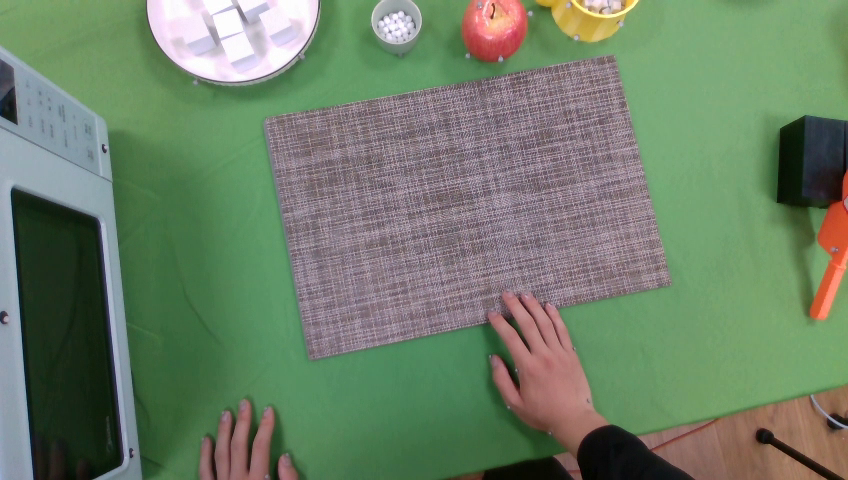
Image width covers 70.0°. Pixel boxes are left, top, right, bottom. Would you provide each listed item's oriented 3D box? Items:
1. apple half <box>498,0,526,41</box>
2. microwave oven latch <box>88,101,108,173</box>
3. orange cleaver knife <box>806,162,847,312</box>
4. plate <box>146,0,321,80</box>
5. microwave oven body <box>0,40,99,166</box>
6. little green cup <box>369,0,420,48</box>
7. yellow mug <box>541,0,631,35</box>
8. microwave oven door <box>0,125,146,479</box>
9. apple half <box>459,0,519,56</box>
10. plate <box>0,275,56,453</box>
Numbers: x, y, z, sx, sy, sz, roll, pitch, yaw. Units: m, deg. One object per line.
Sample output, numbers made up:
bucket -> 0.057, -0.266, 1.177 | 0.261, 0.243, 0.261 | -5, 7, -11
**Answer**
apple half -> 0.102, -0.283, 0.740 | 0.033, 0.081, 0.081 | -39, 86, -2
microwave oven latch -> -0.385, -0.117, 0.698 | 0.030, 0.029, 0.079 | -7, 85, -4
orange cleaver knife -> 0.494, -0.015, 0.722 | 0.012, 0.076, 0.212 | 8, 115, 0
plate -> -0.229, -0.292, 0.744 | 0.208, 0.039, 0.207 | 0, 83, -3
microwave oven body -> -0.500, 0.067, 0.576 | 0.326, 0.260, 0.440 | -9, 85, -4
little green cup -> -0.036, -0.271, 0.751 | 0.061, 0.039, 0.061 | 0, 83, -2
yellow mug -> 0.195, -0.315, 0.753 | 0.131, 0.064, 0.099 | -1, 83, -2
microwave oven door -> -0.349, 0.086, 0.575 | 0.039, 0.244, 0.354 | -9, 84, -3
apple half -> 0.071, -0.259, 0.738 | 0.053, 0.074, 0.081 | -38, 90, -2
plate -> -0.483, 0.129, 0.621 | 0.209, 0.038, 0.208 | 0, 84, -4
